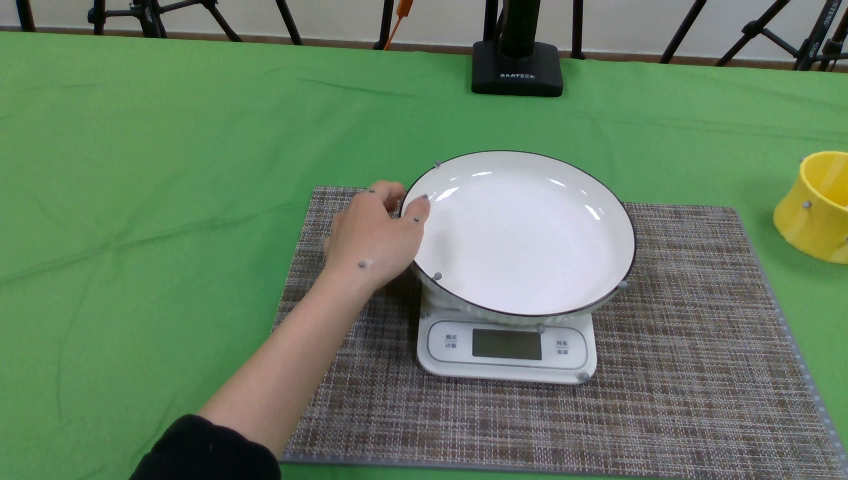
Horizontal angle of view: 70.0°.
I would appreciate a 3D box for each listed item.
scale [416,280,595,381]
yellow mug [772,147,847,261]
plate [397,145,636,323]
[{"bbox_3d":[0.073,0.032,0.550,0.148,0.032,0.199,4,46,2],"label":"scale"},{"bbox_3d":[0.426,-0.029,0.599,0.100,0.064,0.129,-32,56,-27],"label":"yellow mug"},{"bbox_3d":[0.080,-0.008,0.542,0.209,0.038,0.207,1,47,-1],"label":"plate"}]
